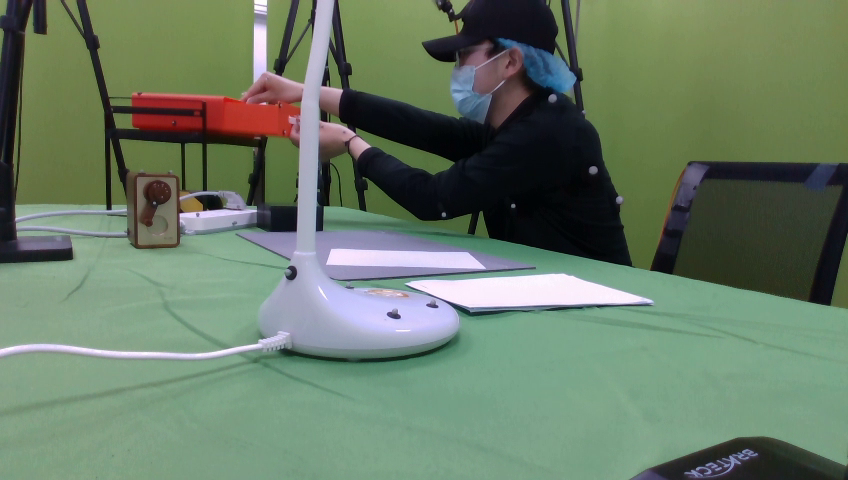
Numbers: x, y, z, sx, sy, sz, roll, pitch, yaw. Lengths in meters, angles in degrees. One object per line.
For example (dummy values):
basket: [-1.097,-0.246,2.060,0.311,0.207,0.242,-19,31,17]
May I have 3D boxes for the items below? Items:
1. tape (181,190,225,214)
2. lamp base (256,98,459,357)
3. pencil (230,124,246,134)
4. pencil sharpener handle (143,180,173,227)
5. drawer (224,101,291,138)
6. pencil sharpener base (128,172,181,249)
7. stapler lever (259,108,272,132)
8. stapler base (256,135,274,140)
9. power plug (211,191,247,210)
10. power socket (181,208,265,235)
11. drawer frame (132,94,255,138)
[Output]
tape: [-0.516,-0.087,1.388,0.117,0.052,0.117,4,7,0]
lamp base: [-0.055,-0.013,0.463,0.160,0.180,0.180,6,11,27]
pencil: [-0.415,-0.250,1.353,0.012,0.012,0.193,-2,6,-26]
pencil sharpener handle: [-0.371,-0.050,0.840,0.036,0.067,0.030,24,-5,-34]
drawer: [-0.387,-0.271,1.363,0.211,0.073,0.194,3,8,8]
pencil sharpener base: [-0.395,-0.044,0.887,0.062,0.107,0.076,-2,9,-34]
stapler lever: [-0.359,-0.270,1.369,0.027,0.040,0.117,2,1,-17]
stapler base: [-0.358,-0.249,1.368,0.041,0.024,0.130,2,-3,-17]
power plug: [-0.386,-0.071,1.204,0.072,0.052,0.035,7,9,26]
power socket: [-0.381,-0.038,1.129,0.072,0.032,0.227,4,8,17]
drawer frame: [-0.505,-0.281,1.378,0.213,0.082,0.202,3,8,7]
